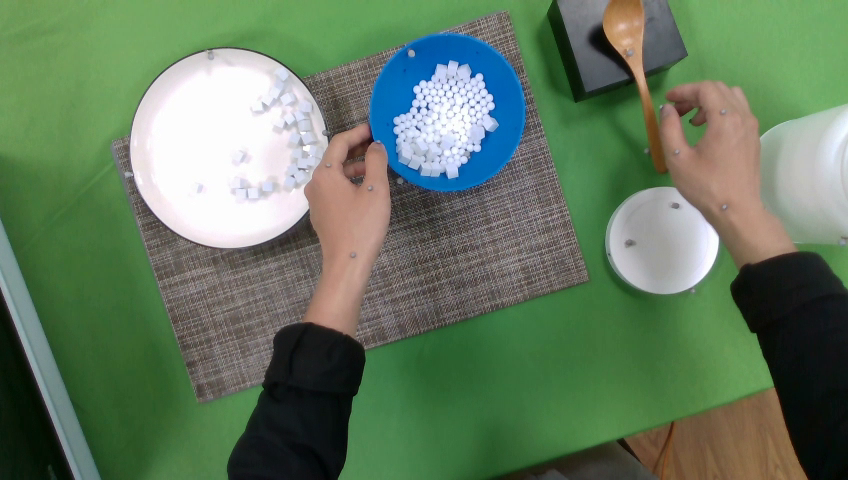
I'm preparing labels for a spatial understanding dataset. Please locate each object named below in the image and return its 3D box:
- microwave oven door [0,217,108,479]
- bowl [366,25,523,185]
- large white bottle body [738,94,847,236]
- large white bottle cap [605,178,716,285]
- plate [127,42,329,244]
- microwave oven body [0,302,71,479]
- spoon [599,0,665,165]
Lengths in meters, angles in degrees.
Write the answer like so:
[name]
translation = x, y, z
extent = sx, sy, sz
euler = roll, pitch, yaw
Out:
[microwave oven door]
translation = -0.412, 0.143, 0.540
extent = 0.039, 0.243, 0.356
euler = -21, 92, 2
[bowl]
translation = 0.021, -0.129, 0.612
extent = 0.151, 0.077, 0.151
euler = 0, 93, 2
[large white bottle body]
translation = 0.394, -0.068, 0.557
extent = 0.130, 0.184, 0.130
euler = 0, 92, 2
[large white bottle cap]
translation = 0.253, -0.008, 0.647
extent = 0.115, 0.018, 0.115
euler = 0, 93, 0
[plate]
translation = -0.201, -0.099, 0.638
extent = 0.209, 0.038, 0.209
euler = 0, 93, 1
[microwave oven body]
translation = -0.564, 0.153, 0.548
extent = 0.326, 0.260, 0.442
euler = -20, 93, 1
[spoon]
translation = 0.214, -0.157, 0.604
extent = 0.041, 0.021, 0.195
euler = -28, 114, -3
